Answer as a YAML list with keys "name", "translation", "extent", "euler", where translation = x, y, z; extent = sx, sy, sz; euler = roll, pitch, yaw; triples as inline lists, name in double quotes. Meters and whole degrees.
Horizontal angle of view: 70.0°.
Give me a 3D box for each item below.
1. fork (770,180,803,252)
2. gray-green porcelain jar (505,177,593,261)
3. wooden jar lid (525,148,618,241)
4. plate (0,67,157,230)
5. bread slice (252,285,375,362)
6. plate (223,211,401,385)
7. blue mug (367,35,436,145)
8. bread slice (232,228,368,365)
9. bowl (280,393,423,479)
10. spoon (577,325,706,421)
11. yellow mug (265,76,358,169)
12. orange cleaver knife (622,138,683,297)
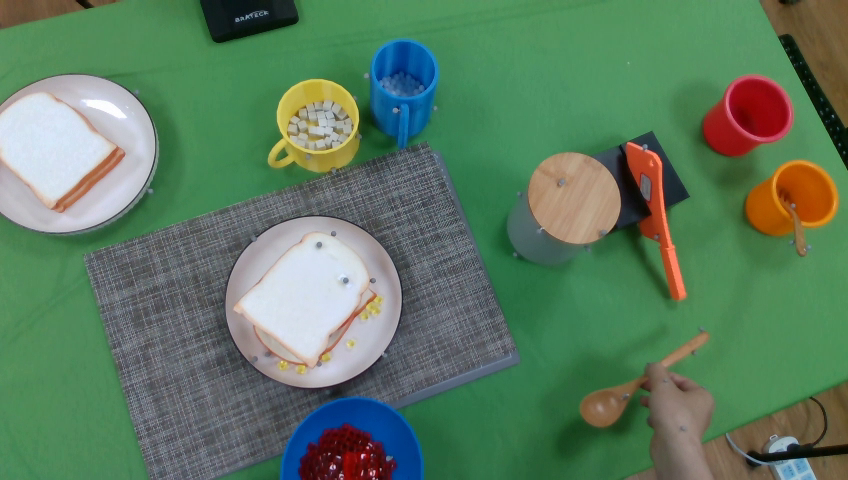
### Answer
- name: "fork"
  translation: [0.459, -0.034, 0.764]
  extent: [0.028, 0.018, 0.206]
  euler: [44, 32, -1]
- name: "gray-green porcelain jar"
  translation: [0.159, -0.034, 0.743]
  extent: [0.106, 0.127, 0.105]
  euler: [2, 76, -6]
- name: "wooden jar lid"
  translation: [0.165, -0.050, 0.683]
  extent: [0.108, 0.021, 0.108]
  euler: [2, 78, -9]
- name: "plate"
  translation: [-0.432, -0.109, 0.742]
  extent: [0.208, 0.039, 0.206]
  euler: [2, 76, -6]
- name: "bread slice"
  translation: [-0.138, 0.080, 0.727]
  extent: [0.105, 0.019, 0.131]
  euler: [36, 73, 4]
- name: "plate"
  translation: [-0.132, 0.068, 0.728]
  extent: [0.209, 0.038, 0.208]
  euler: [2, 76, -6]
- name: "blue mug"
  translation: [-0.031, -0.180, 0.769]
  extent: [0.082, 0.106, 0.116]
  euler: [1, 76, -6]
- name: "bread slice"
  translation: [-0.129, 0.053, 0.671]
  extent: [0.107, 0.018, 0.134]
  euler: [35, 69, -4]
- name: "bowl"
  translation: [-0.079, 0.246, 0.674]
  extent: [0.151, 0.077, 0.150]
  euler: [2, 76, -6]
- name: "spoon"
  translation: [0.262, 0.153, 0.716]
  extent: [0.194, 0.022, 0.041]
  euler: [-31, 54, -10]
- name: "yellow mug"
  translation: [-0.147, -0.138, 0.766]
  extent: [0.131, 0.064, 0.099]
  euler: [-41, 83, -12]
- name: "orange cleaver knife"
  translation: [0.293, -0.028, 0.779]
  extent: [0.012, 0.076, 0.212]
  euler: [-21, 106, -10]
